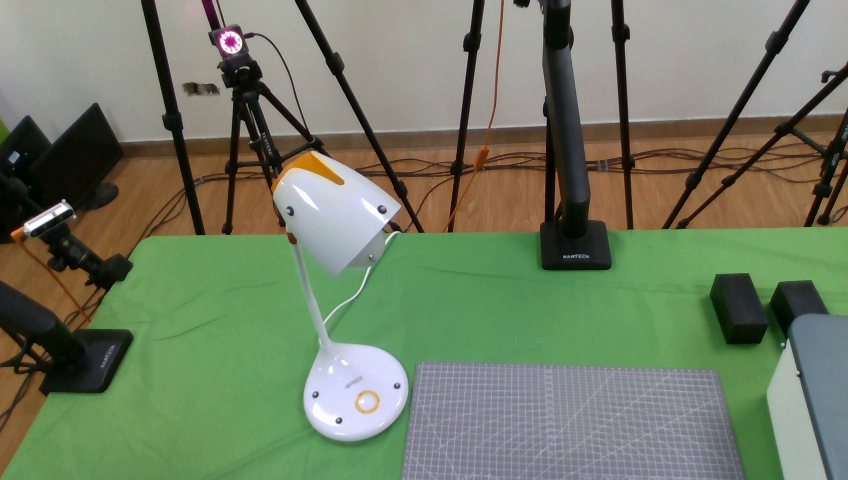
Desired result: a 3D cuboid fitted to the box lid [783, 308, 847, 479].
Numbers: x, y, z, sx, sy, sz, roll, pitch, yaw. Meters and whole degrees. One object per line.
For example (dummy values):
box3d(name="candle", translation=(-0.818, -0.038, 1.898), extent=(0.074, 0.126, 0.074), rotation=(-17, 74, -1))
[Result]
box3d(name="box lid", translation=(0.551, 0.222, 0.628), extent=(0.263, 0.015, 0.368), rotation=(2, 46, 11))

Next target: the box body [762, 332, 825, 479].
box3d(name="box body", translation=(0.558, 0.275, 0.679), extent=(0.253, 0.162, 0.361), rotation=(2, 46, 11))

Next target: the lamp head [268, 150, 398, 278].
box3d(name="lamp head", translation=(-0.108, -0.034, 0.657), extent=(0.123, 0.112, 0.112), rotation=(40, 56, -2))

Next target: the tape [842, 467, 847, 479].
box3d(name="tape", translation=(0.568, 0.302, 0.721), extent=(0.117, 0.053, 0.115), rotation=(-4, 45, 4))

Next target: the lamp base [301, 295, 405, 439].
box3d(name="lamp base", translation=(-0.125, 0.170, 0.876), extent=(0.160, 0.182, 0.177), rotation=(-38, 49, -26))
